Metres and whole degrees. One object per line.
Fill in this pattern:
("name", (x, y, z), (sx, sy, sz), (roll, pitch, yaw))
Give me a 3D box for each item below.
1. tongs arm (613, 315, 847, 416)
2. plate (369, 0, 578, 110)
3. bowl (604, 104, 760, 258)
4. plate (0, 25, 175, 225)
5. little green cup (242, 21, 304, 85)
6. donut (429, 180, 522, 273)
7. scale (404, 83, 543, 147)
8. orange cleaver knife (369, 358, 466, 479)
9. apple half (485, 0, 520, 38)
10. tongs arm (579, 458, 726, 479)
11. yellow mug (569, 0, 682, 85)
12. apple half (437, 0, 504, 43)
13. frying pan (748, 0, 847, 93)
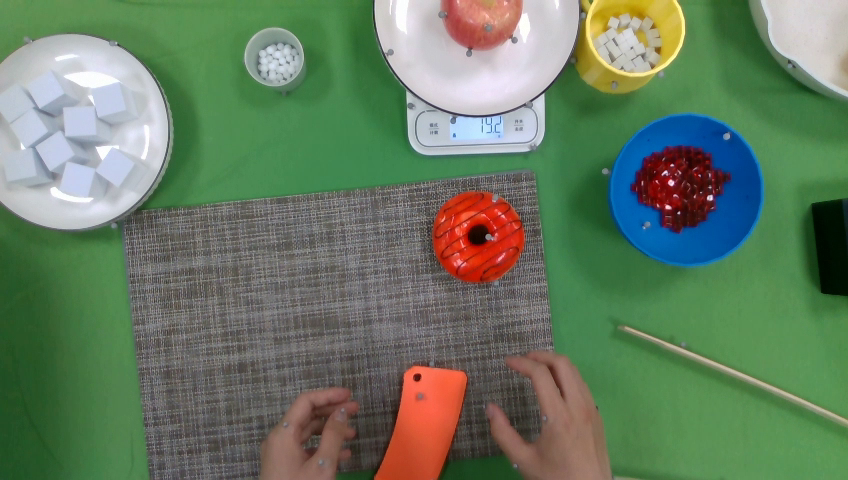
("tongs arm", (0.382, 0.163, 0.651), (0.388, 0.028, 0.028), (24, 82, 0))
("plate", (0.049, -0.234, 0.615), (0.209, 0.038, 0.209), (0, 90, -1))
("bowl", (0.252, -0.057, 0.626), (0.151, 0.077, 0.151), (0, 90, 0))
("plate", (-0.365, -0.119, 0.641), (0.208, 0.039, 0.207), (0, 90, 0))
("little green cup", (-0.157, -0.196, 0.642), (0.061, 0.038, 0.061), (0, 89, 0))
("donut", (0.053, -0.014, 0.637), (0.099, 0.048, 0.099), (0, 91, 2))
("scale", (0.051, -0.203, 0.647), (0.149, 0.031, 0.201), (-2, 90, 0))
("orange cleaver knife", (-0.018, 0.223, 0.648), (0.077, 0.012, 0.211), (23, 87, -7))
("apple half", (0.061, -0.243, 0.589), (0.081, 0.075, 0.053), (39, 87, 3))
("tongs arm", (0.361, 0.247, 0.647), (0.385, 0.026, 0.050), (9, 85, -1))
("yellow mug", (0.198, -0.232, 0.631), (0.100, 0.064, 0.131), (-39, 89, 0))
("apple half", (0.037, -0.213, 0.587), (0.081, 0.081, 0.033), (39, 86, 0))
("frying pan", (0.527, -0.200, 0.615), (0.307, 0.103, 0.486), (-33, 82, 1))
